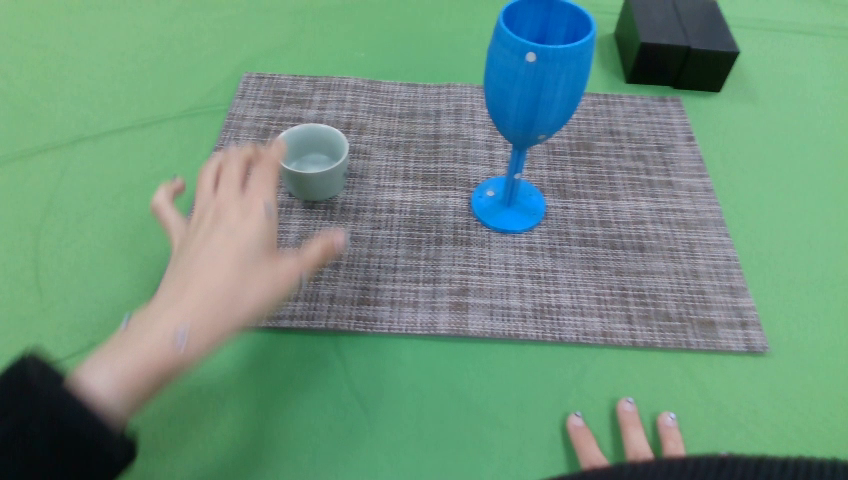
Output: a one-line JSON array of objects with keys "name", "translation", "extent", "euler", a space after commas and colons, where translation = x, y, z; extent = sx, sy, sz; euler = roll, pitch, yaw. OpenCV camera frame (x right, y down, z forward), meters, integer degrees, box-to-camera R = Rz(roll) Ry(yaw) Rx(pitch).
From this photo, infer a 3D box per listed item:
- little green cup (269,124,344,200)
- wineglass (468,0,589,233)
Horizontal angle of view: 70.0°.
[{"name": "little green cup", "translation": [-0.098, -0.065, 0.514], "extent": [0.061, 0.039, 0.061], "euler": [2, 49, -2]}, {"name": "wineglass", "translation": [0.072, -0.086, 0.454], "extent": [0.074, 0.174, 0.073], "euler": [1, 50, -1]}]
